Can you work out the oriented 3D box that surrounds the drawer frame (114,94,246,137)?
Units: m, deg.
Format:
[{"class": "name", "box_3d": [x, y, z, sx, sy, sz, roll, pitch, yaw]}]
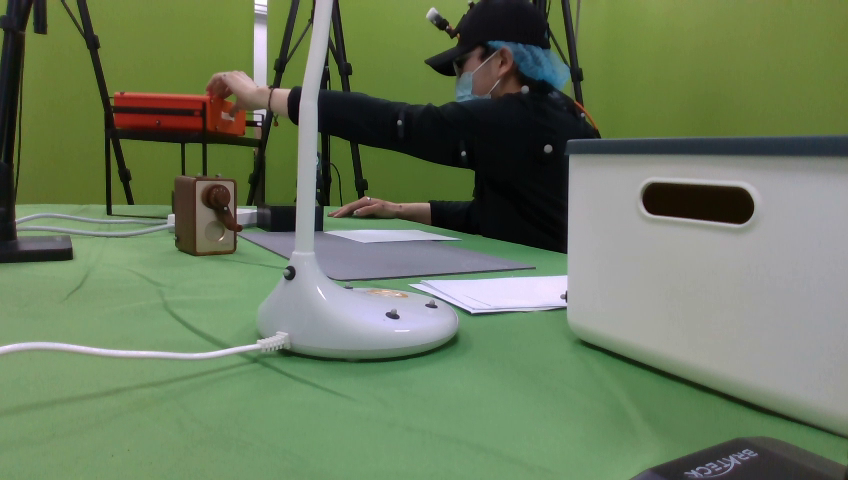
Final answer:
[{"class": "drawer frame", "box_3d": [-0.543, -0.281, 1.374, 0.213, 0.082, 0.201, 2, 8, 4]}]

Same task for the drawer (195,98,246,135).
[{"class": "drawer", "box_3d": [-0.540, -0.280, 1.374, 0.212, 0.073, 0.194, 2, 8, 5]}]

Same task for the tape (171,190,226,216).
[{"class": "tape", "box_3d": [-0.516, -0.087, 1.388, 0.117, 0.052, 0.117, 3, 7, 0]}]

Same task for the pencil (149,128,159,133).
[{"class": "pencil", "box_3d": [-0.528, -0.258, 1.360, 0.012, 0.012, 0.195, 8, 20, 35]}]

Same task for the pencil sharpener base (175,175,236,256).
[{"class": "pencil sharpener base", "box_3d": [-0.305, -0.036, 0.847, 0.062, 0.107, 0.076, -4, 10, -42]}]

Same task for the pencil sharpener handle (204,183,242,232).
[{"class": "pencil sharpener handle", "box_3d": [-0.265, -0.043, 0.813, 0.036, 0.068, 0.030, -32, 28, -35]}]

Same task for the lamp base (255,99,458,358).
[{"class": "lamp base", "box_3d": [-0.056, -0.013, 0.463, 0.160, 0.180, 0.180, 6, 11, 27]}]

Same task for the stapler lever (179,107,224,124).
[{"class": "stapler lever", "box_3d": [-0.496, -0.281, 1.358, 0.027, 0.040, 0.118, 2, 7, 22]}]

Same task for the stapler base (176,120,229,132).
[{"class": "stapler base", "box_3d": [-0.496, -0.258, 1.363, 0.041, 0.024, 0.131, 2, 9, 22]}]

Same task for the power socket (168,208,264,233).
[{"class": "power socket", "box_3d": [-0.382, -0.038, 1.129, 0.072, 0.032, 0.227, 4, 8, 17]}]

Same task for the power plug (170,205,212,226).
[{"class": "power plug", "box_3d": [-0.456, -0.041, 1.196, 0.052, 0.035, 0.072, 1, 42, 24]}]

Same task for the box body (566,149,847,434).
[{"class": "box body", "box_3d": [0.317, 0.009, 0.472, 0.366, 0.160, 0.253, -2, 8, -31]}]

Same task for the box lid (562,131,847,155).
[{"class": "box lid", "box_3d": [0.321, -0.064, 0.463, 0.373, 0.015, 0.262, -2, 9, -31]}]
